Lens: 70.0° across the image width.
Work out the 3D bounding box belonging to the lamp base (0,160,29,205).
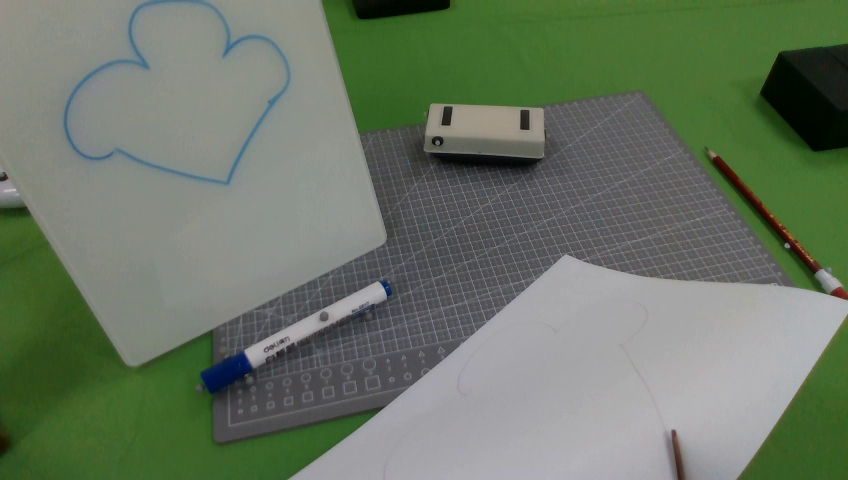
[{"bbox_3d":[-0.378,-0.147,0.526,0.178,0.182,0.160,21,52,20],"label":"lamp base"}]

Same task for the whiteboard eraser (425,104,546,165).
[{"bbox_3d":[0.059,-0.099,0.574,0.112,0.042,0.055,4,50,4],"label":"whiteboard eraser"}]

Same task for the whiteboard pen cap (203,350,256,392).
[{"bbox_3d":[-0.134,0.091,0.421,0.033,0.018,0.018,-28,54,-21],"label":"whiteboard pen cap"}]

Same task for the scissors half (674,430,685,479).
[{"bbox_3d":[0.134,0.182,0.298,0.013,0.040,0.175,-6,87,13],"label":"scissors half"}]

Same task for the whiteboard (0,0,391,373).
[{"bbox_3d":[-0.181,-0.102,0.443,0.217,0.308,0.142,-27,34,-20],"label":"whiteboard"}]

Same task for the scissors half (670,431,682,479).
[{"bbox_3d":[0.129,0.179,0.278,0.013,0.040,0.174,-5,69,8],"label":"scissors half"}]

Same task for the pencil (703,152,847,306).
[{"bbox_3d":[0.301,-0.019,0.531,0.012,0.012,0.192,-13,48,-10],"label":"pencil"}]

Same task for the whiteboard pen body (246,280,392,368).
[{"bbox_3d":[-0.085,0.065,0.441,0.141,0.017,0.017,-27,54,-20],"label":"whiteboard pen body"}]

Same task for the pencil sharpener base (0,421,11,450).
[{"bbox_3d":[-0.315,0.108,0.352,0.061,0.108,0.076,28,55,22],"label":"pencil sharpener base"}]
